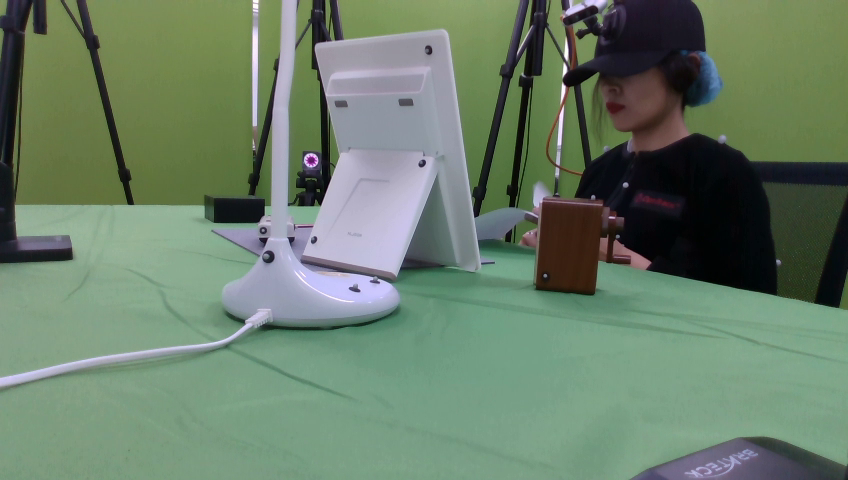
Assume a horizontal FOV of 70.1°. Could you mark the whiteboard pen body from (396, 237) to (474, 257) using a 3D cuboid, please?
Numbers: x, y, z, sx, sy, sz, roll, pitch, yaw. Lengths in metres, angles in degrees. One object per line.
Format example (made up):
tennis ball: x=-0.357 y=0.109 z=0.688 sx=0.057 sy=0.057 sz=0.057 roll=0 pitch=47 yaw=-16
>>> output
whiteboard pen body: x=0.014 y=0.012 z=0.886 sx=0.140 sy=0.017 sz=0.017 roll=9 pitch=10 yaw=38

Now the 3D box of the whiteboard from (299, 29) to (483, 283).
whiteboard: x=-0.074 y=-0.082 z=0.742 sx=0.216 sy=0.305 sz=0.144 roll=9 pitch=30 yaw=38

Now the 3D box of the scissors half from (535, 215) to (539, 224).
scissors half: x=0.221 y=-0.029 z=1.087 sx=0.013 sy=0.040 sz=0.176 roll=3 pitch=-4 yaw=24

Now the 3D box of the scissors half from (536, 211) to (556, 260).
scissors half: x=0.216 y=-0.009 z=1.082 sx=0.012 sy=0.040 sz=0.176 roll=8 pitch=-25 yaw=25

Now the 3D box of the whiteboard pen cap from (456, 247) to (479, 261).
whiteboard pen cap: x=0.060 y=0.020 z=0.851 sx=0.033 sy=0.018 sz=0.018 roll=10 pitch=10 yaw=37

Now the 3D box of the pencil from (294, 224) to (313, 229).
pencil: x=-0.220 y=-0.028 z=1.211 sx=0.195 sy=0.012 sz=0.012 roll=-5 pitch=10 yaw=-34

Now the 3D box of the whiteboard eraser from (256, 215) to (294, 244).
whiteboard eraser: x=-0.232 y=-0.016 z=0.951 sx=0.056 sy=0.042 sz=0.112 roll=2 pitch=7 yaw=-12

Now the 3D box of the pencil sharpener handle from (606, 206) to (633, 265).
pencil sharpener handle: x=0.223 y=-0.004 z=0.683 sx=0.030 sy=0.068 sz=0.036 roll=5 pitch=20 yaw=17

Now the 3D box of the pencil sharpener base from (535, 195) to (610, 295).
pencil sharpener base: x=0.172 y=0.005 z=0.696 sx=0.076 sy=0.107 sz=0.061 roll=5 pitch=7 yaw=16

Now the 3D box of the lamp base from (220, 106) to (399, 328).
lamp base: x=-0.101 y=-0.023 z=0.531 sx=0.160 sy=0.180 sz=0.179 roll=4 pitch=10 yaw=10
